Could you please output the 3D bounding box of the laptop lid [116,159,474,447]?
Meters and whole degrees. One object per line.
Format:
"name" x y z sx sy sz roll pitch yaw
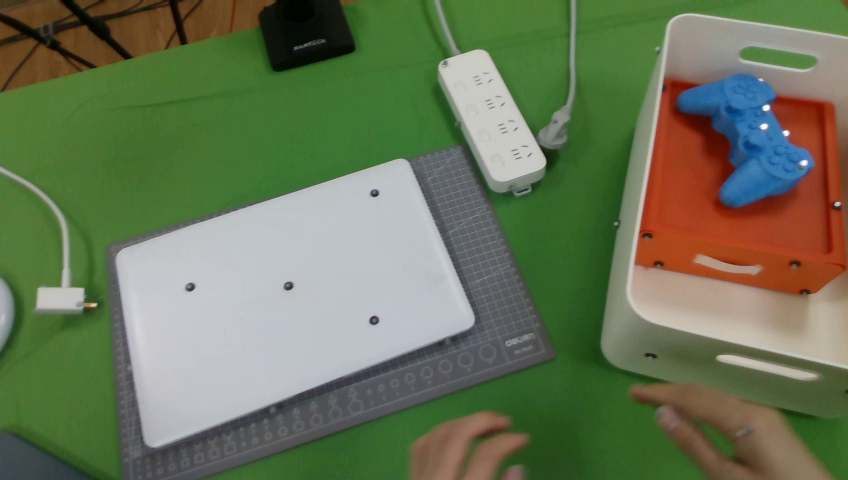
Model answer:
"laptop lid" -0.148 0.053 0.665 0.357 0.013 0.239 -18 65 -7

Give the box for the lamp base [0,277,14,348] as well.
"lamp base" -0.550 0.054 0.605 0.178 0.182 0.160 38 70 23

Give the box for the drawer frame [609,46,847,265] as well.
"drawer frame" 0.320 -0.076 0.620 0.083 0.212 0.202 -44 101 -5

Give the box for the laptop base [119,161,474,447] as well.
"laptop base" -0.147 0.056 0.677 0.355 0.023 0.233 -20 66 -8

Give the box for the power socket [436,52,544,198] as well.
"power socket" 0.081 -0.153 0.769 0.072 0.033 0.224 -18 62 -8

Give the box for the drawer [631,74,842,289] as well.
"drawer" 0.338 -0.067 0.664 0.194 0.074 0.210 11 69 10

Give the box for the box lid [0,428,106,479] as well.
"box lid" -0.335 0.353 0.533 0.370 0.015 0.262 22 65 13

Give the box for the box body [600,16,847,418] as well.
"box body" 0.334 -0.027 0.617 0.253 0.161 0.361 13 63 9

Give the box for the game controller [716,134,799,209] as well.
"game controller" 0.338 -0.112 0.642 0.097 0.052 0.153 -8 62 -5

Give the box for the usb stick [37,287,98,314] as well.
"usb stick" -0.393 0.067 0.669 0.059 0.021 0.027 9 62 -30

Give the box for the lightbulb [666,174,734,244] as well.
"lightbulb" 0.294 -0.033 0.661 0.059 0.060 0.106 -9 50 -1

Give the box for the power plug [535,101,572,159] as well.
"power plug" 0.168 -0.133 0.751 0.035 0.053 0.072 38 52 24
